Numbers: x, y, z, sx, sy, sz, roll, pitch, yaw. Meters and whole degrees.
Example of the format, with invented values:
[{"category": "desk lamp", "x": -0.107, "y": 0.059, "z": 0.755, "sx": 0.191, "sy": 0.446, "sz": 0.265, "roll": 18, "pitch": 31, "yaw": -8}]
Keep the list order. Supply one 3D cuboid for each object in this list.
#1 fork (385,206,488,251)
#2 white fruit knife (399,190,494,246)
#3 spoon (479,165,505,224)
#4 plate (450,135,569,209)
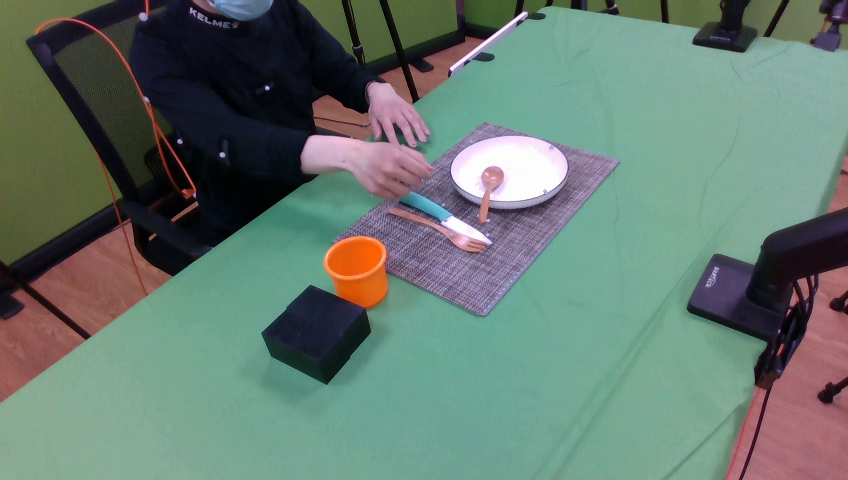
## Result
[{"category": "fork", "x": 0.015, "y": -0.021, "z": 0.988, "sx": 0.206, "sy": 0.019, "sz": 0.028, "roll": 24, "pitch": 62, "yaw": 30}, {"category": "white fruit knife", "x": 0.036, "y": -0.038, "z": 1.009, "sx": 0.205, "sy": 0.016, "sz": 0.027, "roll": 32, "pitch": 84, "yaw": 34}, {"category": "spoon", "x": 0.106, "y": -0.079, "z": 1.005, "sx": 0.041, "sy": 0.022, "sz": 0.193, "roll": 4, "pitch": 29, "yaw": 11}, {"category": "plate", "x": 0.149, "y": -0.117, "z": 1.066, "sx": 0.209, "sy": 0.038, "sz": 0.208, "roll": -4, "pitch": 41, "yaw": 4}]
